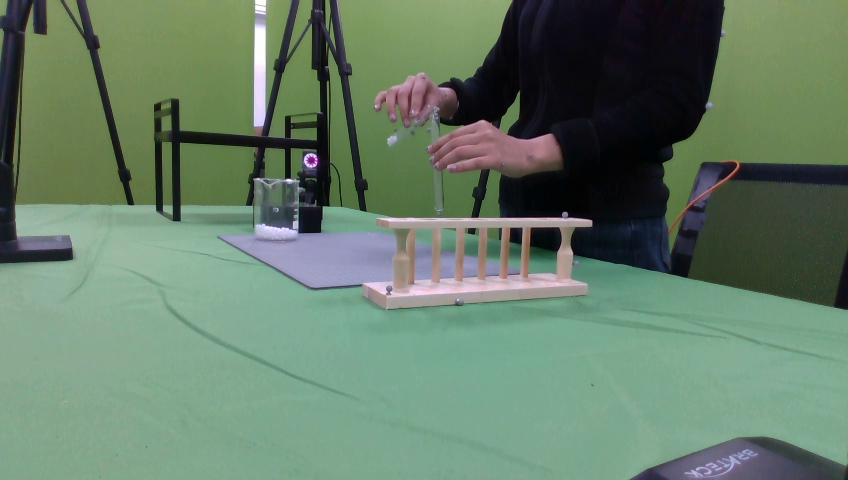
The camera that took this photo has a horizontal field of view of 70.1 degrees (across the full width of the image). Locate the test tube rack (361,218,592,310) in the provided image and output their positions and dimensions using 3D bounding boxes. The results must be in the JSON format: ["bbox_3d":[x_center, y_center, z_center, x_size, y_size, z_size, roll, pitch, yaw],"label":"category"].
[{"bbox_3d":[0.060,0.018,0.640,0.243,0.085,0.066,-1,8,-27],"label":"test tube rack"}]

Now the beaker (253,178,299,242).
[{"bbox_3d":[-0.243,-0.050,0.990,0.074,0.100,0.084,2,9,1],"label":"beaker"}]

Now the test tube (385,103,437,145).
[{"bbox_3d":[-0.024,-0.184,0.974,0.017,0.017,0.150,-2,-12,-32],"label":"test tube"}]

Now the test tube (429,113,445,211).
[{"bbox_3d":[0.019,-0.116,0.896,0.017,0.150,0.017,-3,-11,0],"label":"test tube"}]
